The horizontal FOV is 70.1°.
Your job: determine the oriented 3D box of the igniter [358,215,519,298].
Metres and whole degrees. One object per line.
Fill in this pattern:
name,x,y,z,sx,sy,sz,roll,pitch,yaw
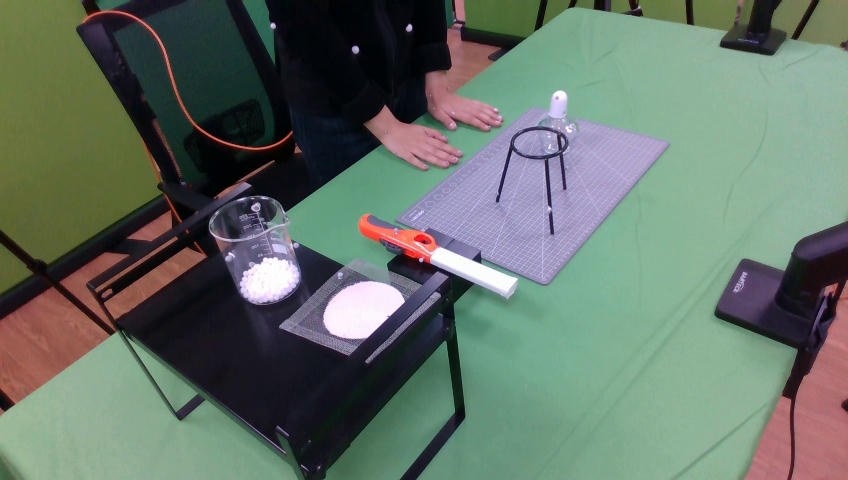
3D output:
igniter,0.010,0.018,0.876,0.274,0.025,0.057,23,46,28

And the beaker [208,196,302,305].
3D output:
beaker,-0.173,0.014,0.647,0.084,0.101,0.073,-1,41,8

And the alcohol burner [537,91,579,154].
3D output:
alcohol burner,0.248,-0.220,1.122,0.078,0.119,0.077,-6,39,5

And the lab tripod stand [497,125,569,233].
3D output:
lab tripod stand,0.189,-0.104,0.979,0.148,0.132,0.147,-3,41,3

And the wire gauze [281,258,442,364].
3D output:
wire gauze,-0.065,0.071,0.633,0.120,0.011,0.125,19,45,31

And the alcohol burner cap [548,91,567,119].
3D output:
alcohol burner cap,0.245,-0.247,1.098,0.034,0.048,0.033,-1,46,1
